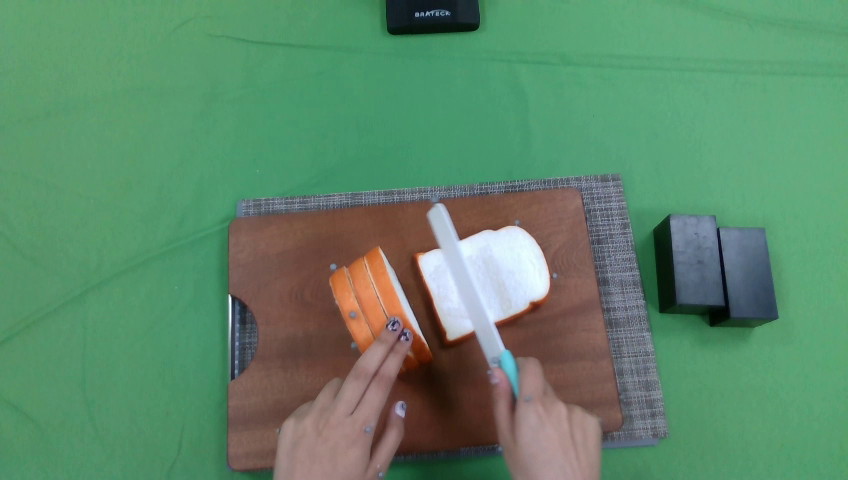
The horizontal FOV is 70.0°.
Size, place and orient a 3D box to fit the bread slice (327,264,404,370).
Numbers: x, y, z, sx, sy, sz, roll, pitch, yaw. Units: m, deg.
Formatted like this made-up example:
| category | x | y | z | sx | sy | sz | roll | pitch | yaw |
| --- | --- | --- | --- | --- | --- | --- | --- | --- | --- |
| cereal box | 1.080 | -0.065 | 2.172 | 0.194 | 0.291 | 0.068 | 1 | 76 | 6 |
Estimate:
| category | x | y | z | sx | sy | sz | roll | pitch | yaw |
| --- | --- | --- | --- | --- | --- | --- | --- | --- | --- |
| bread slice | -0.058 | 0.074 | 0.584 | 0.019 | 0.132 | 0.104 | -28 | 73 | 0 |

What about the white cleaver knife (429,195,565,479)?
| category | x | y | z | sx | sy | sz | roll | pitch | yaw |
| --- | --- | --- | --- | --- | --- | --- | --- | --- | --- |
| white cleaver knife | 0.063 | 0.091 | 0.555 | 0.021 | 0.066 | 0.285 | -18 | 80 | -12 |

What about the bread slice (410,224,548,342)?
| category | x | y | z | sx | sy | sz | roll | pitch | yaw |
| --- | --- | --- | --- | --- | --- | --- | --- | --- | --- |
| bread slice | 0.064 | 0.041 | 0.648 | 0.134 | 0.018 | 0.106 | -17 | 77 | -2 |
